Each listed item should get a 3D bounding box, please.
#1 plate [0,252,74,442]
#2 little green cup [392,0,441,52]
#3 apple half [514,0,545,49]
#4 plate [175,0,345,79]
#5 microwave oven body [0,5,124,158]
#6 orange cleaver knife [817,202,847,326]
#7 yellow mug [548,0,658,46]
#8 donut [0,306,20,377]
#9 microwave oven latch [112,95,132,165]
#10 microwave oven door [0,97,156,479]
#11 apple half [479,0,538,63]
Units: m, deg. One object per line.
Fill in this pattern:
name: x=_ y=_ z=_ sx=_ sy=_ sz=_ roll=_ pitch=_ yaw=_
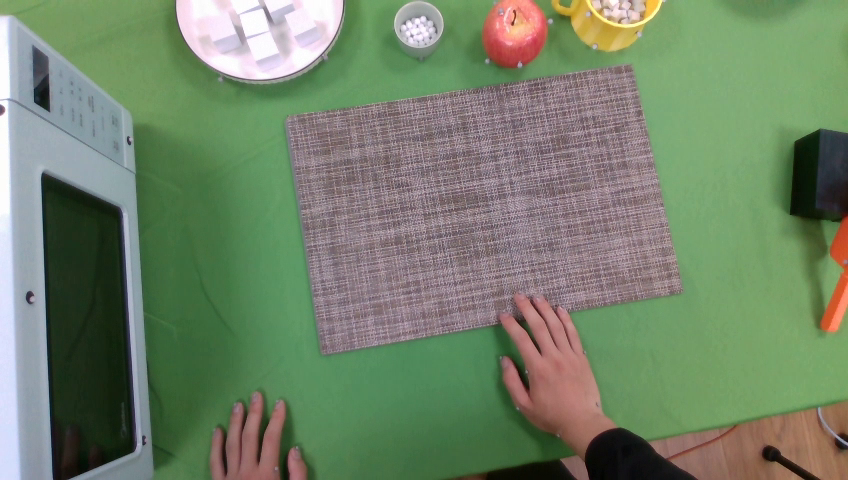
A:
plate: x=-0.470 y=0.113 z=0.634 sx=0.209 sy=0.038 sz=0.208 roll=0 pitch=83 yaw=-3
little green cup: x=-0.009 y=-0.270 z=0.766 sx=0.061 sy=0.039 sz=0.061 roll=0 pitch=82 yaw=-2
apple half: x=0.129 y=-0.277 z=0.754 sx=0.033 sy=0.081 sz=0.081 roll=-37 pitch=85 yaw=-2
plate: x=-0.202 y=-0.298 z=0.762 sx=0.208 sy=0.039 sz=0.207 roll=0 pitch=82 yaw=-2
microwave oven body: x=-0.487 y=0.049 z=0.590 sx=0.326 sy=0.260 sz=0.440 roll=-7 pitch=83 yaw=-3
orange cleaver knife: x=0.511 y=0.002 z=0.726 sx=0.012 sy=0.076 sz=0.212 roll=10 pitch=114 yaw=1
yellow mug: x=0.223 y=-0.307 z=0.766 sx=0.131 sy=0.064 sz=0.099 roll=1 pitch=82 yaw=-1
donut: x=-0.468 y=0.107 z=0.621 sx=0.099 sy=0.048 sz=0.099 roll=0 pitch=84 yaw=-1
microwave oven latch: x=-0.364 y=-0.128 z=0.714 sx=0.030 sy=0.029 sz=0.079 roll=-5 pitch=83 yaw=-3
microwave oven door: x=-0.336 y=0.073 z=0.587 sx=0.039 sy=0.244 sz=0.354 roll=-7 pitch=82 yaw=-3
apple half: x=0.097 y=-0.254 z=0.751 sx=0.053 sy=0.074 sz=0.081 roll=-36 pitch=89 yaw=-2
